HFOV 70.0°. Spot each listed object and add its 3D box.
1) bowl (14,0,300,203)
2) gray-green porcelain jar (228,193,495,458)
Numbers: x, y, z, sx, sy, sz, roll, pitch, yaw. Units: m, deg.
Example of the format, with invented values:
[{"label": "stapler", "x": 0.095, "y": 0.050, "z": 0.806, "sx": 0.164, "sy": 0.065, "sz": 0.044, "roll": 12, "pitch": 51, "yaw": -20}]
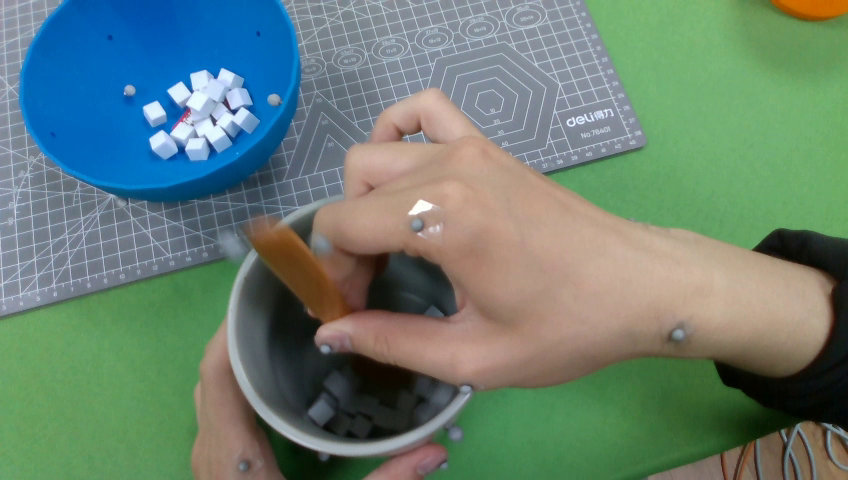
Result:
[{"label": "bowl", "x": -0.143, "y": -0.081, "z": 0.361, "sx": 0.151, "sy": 0.077, "sz": 0.150, "roll": 0, "pitch": 70, "yaw": 0}, {"label": "gray-green porcelain jar", "x": -0.023, "y": 0.050, "z": 0.294, "sx": 0.106, "sy": 0.127, "sz": 0.105, "roll": 0, "pitch": 70, "yaw": 0}]
